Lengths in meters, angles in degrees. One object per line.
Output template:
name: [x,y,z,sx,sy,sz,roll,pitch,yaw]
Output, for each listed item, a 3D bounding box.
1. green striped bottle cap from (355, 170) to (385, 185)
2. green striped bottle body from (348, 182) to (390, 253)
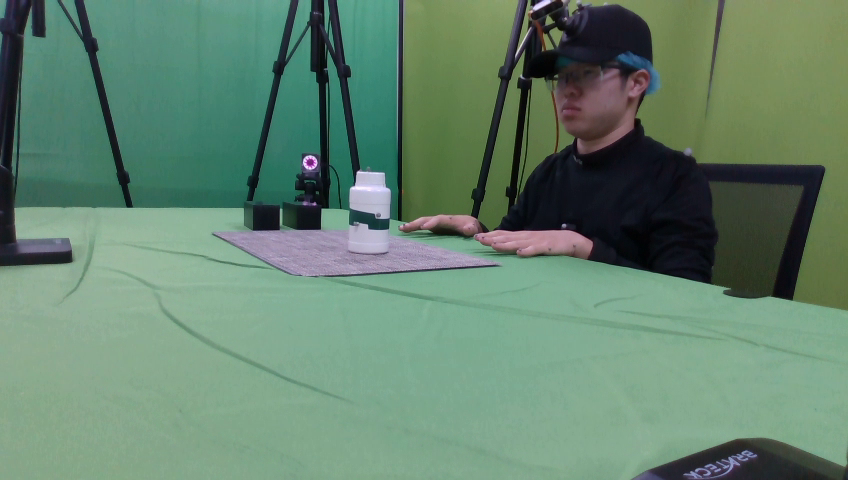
green striped bottle cap: [-0.080,-0.094,0.907,0.044,0.020,0.044,3,9,0]
green striped bottle body: [-0.083,-0.043,0.913,0.063,0.119,0.063,2,7,0]
